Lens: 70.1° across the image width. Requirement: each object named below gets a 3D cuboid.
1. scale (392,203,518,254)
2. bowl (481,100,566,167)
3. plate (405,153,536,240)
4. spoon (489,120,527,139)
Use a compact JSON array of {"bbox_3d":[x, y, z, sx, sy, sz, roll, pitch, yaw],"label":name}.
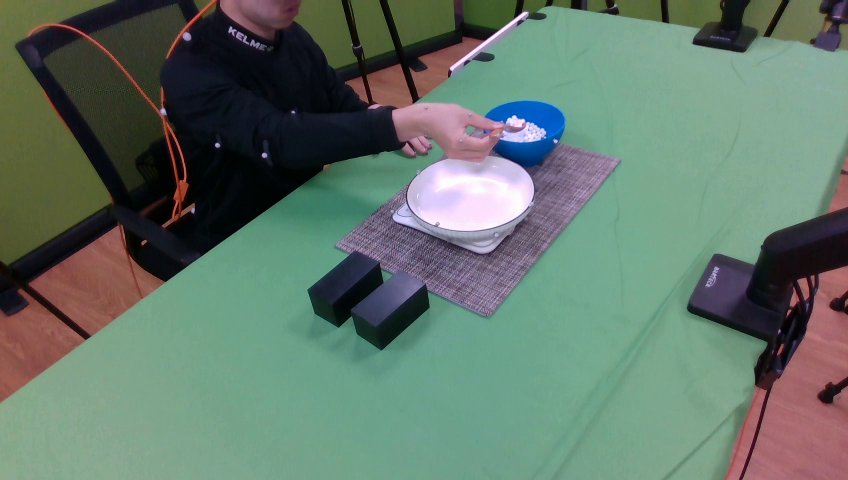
[{"bbox_3d":[0.061,-0.050,1.006,0.199,0.032,0.149,22,48,30],"label":"scale"},{"bbox_3d":[0.182,-0.186,1.111,0.151,0.077,0.150,-4,40,4],"label":"bowl"},{"bbox_3d":[0.075,-0.067,0.973,0.209,0.038,0.208,-4,41,4],"label":"plate"},{"bbox_3d":[0.133,-0.183,0.998,0.041,0.021,0.194,4,14,21],"label":"spoon"}]
